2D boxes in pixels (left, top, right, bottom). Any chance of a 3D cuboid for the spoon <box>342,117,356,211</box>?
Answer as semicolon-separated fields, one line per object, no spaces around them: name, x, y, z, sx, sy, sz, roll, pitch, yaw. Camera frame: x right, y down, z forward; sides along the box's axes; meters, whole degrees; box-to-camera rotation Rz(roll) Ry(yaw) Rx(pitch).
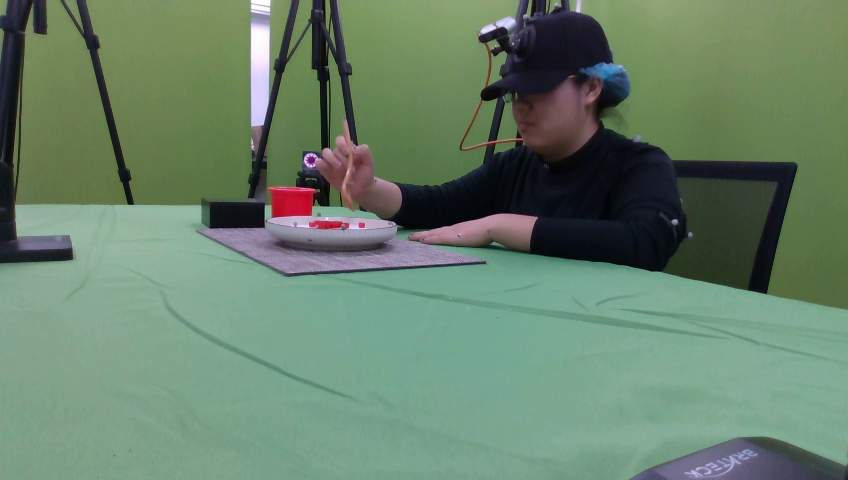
spoon;-0.128;-0.133;1.030;0.021;0.193;0.042;-7;-29;6

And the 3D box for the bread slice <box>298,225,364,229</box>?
bread slice;-0.154;-0.012;0.973;0.132;0.019;0.104;-1;7;-31

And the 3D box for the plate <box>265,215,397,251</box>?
plate;-0.147;-0.012;0.963;0.209;0.038;0.209;3;7;0
